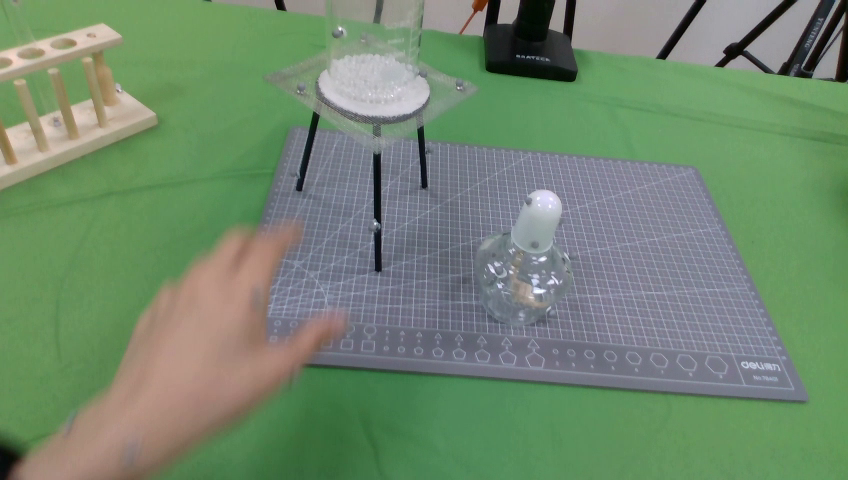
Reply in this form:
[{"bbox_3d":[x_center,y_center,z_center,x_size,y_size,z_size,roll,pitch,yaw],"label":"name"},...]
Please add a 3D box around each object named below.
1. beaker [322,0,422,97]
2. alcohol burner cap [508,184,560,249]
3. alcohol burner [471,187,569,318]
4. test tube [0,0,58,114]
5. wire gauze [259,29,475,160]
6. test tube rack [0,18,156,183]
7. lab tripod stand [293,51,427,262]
[{"bbox_3d":[-0.040,-0.162,0.438,0.084,0.101,0.073,-30,57,-31],"label":"beaker"},{"bbox_3d":[0.082,-0.019,0.440,0.034,0.048,0.033,4,49,-4],"label":"alcohol burner cap"},{"bbox_3d":[0.078,0.005,0.466,0.078,0.120,0.077,6,43,-5],"label":"alcohol burner"},{"bbox_3d":[-0.356,-0.179,0.536,0.017,0.151,0.017,3,42,-2],"label":"test tube"},{"bbox_3d":[-0.042,-0.123,0.469,0.124,0.011,0.121,37,53,21],"label":"wire gauze"},{"bbox_3d":[-0.374,-0.112,0.536,0.066,0.086,0.242,34,50,23],"label":"test tube rack"},{"bbox_3d":[-0.047,-0.076,0.514,0.148,0.132,0.147,6,45,-6],"label":"lab tripod stand"}]
